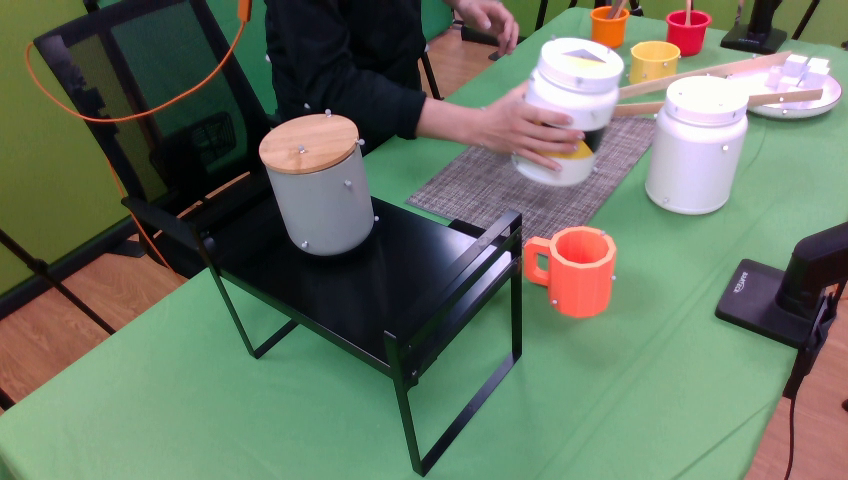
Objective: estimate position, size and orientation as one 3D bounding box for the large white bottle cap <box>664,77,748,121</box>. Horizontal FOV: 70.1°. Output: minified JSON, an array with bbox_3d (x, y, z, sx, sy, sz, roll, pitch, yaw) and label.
[{"bbox_3d":[0.421,-0.212,0.905,0.115,0.018,0.114,-4,40,4],"label":"large white bottle cap"}]

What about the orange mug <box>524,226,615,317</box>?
[{"bbox_3d":[0.201,0.039,0.845,0.125,0.101,0.083,18,47,21],"label":"orange mug"}]

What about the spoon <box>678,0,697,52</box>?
[{"bbox_3d":[0.614,-0.526,1.402,0.041,0.022,0.193,3,86,11],"label":"spoon"}]

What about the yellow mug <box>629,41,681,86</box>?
[{"bbox_3d":[0.495,-0.389,1.321,0.100,0.064,0.130,-14,40,-6],"label":"yellow mug"}]

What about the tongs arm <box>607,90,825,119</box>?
[{"bbox_3d":[0.546,-0.262,1.163,0.386,0.028,0.028,-1,50,18],"label":"tongs arm"}]

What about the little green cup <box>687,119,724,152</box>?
[{"bbox_3d":[0.514,-0.191,1.109,0.061,0.039,0.061,-5,40,5],"label":"little green cup"}]

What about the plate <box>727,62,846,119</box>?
[{"bbox_3d":[0.709,-0.292,1.197,0.207,0.039,0.206,-4,40,4],"label":"plate"}]

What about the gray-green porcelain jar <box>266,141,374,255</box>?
[{"bbox_3d":[-0.117,-0.054,0.702,0.106,0.127,0.105,-4,40,4],"label":"gray-green porcelain jar"}]

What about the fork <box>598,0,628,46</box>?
[{"bbox_3d":[0.479,-0.558,1.455,0.028,0.019,0.207,35,100,38],"label":"fork"}]

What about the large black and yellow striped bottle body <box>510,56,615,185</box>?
[{"bbox_3d":[0.208,-0.191,0.909,0.131,0.184,0.130,4,43,-3],"label":"large black and yellow striped bottle body"}]

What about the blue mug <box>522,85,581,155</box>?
[{"bbox_3d":[0.233,-0.218,1.127,0.117,0.106,0.081,-23,43,-16],"label":"blue mug"}]

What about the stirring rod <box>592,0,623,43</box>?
[{"bbox_3d":[0.460,-0.557,1.461,0.014,0.176,0.006,35,11,22],"label":"stirring rod"}]

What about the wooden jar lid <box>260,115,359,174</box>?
[{"bbox_3d":[-0.124,-0.101,0.662,0.108,0.021,0.108,-4,41,4],"label":"wooden jar lid"}]

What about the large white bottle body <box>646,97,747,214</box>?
[{"bbox_3d":[0.431,-0.148,0.959,0.130,0.185,0.130,-4,41,4],"label":"large white bottle body"}]

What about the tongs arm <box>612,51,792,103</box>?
[{"bbox_3d":[0.552,-0.320,1.224,0.384,0.027,0.050,-11,44,7],"label":"tongs arm"}]

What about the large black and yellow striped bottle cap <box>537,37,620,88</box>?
[{"bbox_3d":[0.217,-0.252,0.851,0.115,0.019,0.114,4,44,-3],"label":"large black and yellow striped bottle cap"}]
